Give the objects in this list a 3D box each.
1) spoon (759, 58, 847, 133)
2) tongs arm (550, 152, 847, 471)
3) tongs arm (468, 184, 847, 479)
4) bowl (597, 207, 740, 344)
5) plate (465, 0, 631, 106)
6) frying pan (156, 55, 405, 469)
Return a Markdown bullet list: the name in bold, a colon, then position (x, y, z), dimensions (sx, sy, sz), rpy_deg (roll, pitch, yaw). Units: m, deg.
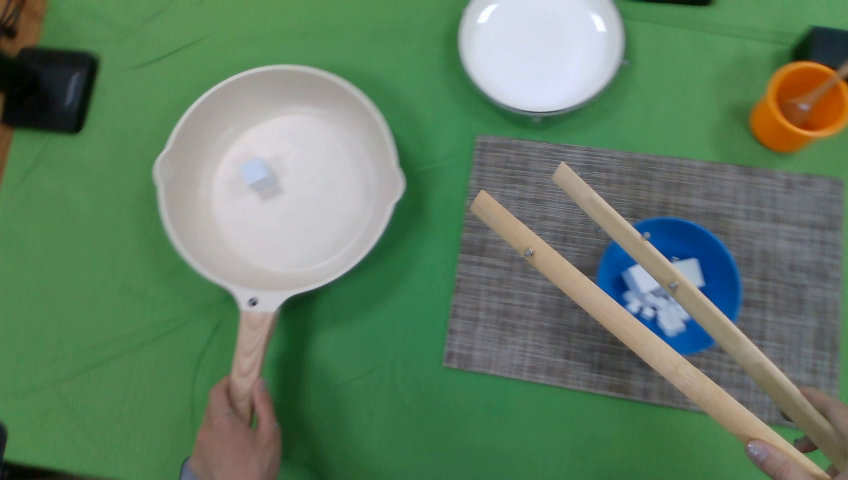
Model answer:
- **spoon**: position (0.472, -0.192, 0.687), dimensions (0.022, 0.194, 0.041), rpy_deg (-16, 69, -44)
- **tongs arm**: position (0.238, 0.055, 0.548), dimensions (0.051, 0.026, 0.381), rpy_deg (-20, 60, -42)
- **tongs arm**: position (0.187, 0.078, 0.497), dimensions (0.385, 0.028, 0.028), rpy_deg (40, 128, 14)
- **bowl**: position (0.266, 0.044, 0.689), dimensions (0.151, 0.077, 0.150), rpy_deg (-1, 79, 4)
- **plate**: position (0.157, -0.267, 0.782), dimensions (0.207, 0.039, 0.206), rpy_deg (-1, 79, 5)
- **frying pan**: position (-0.186, 0.015, 0.721), dimensions (0.306, 0.103, 0.485), rpy_deg (6, 71, 6)
